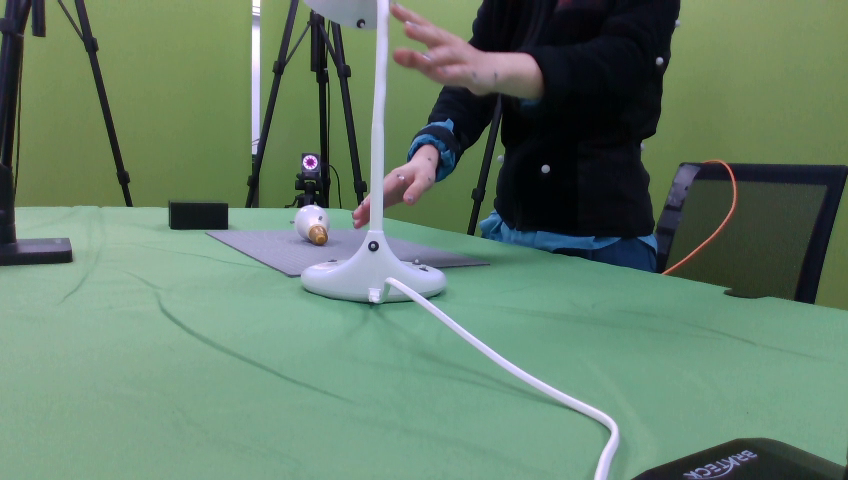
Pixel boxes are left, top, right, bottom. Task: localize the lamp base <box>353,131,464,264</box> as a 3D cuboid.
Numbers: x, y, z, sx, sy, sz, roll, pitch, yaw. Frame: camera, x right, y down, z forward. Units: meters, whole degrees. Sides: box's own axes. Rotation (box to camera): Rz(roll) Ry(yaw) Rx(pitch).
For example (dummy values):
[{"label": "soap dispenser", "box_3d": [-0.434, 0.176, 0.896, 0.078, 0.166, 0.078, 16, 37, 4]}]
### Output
[{"label": "lamp base", "box_3d": [-0.014, -0.062, 0.851, 0.161, 0.180, 0.178, -1, 10, -20]}]
